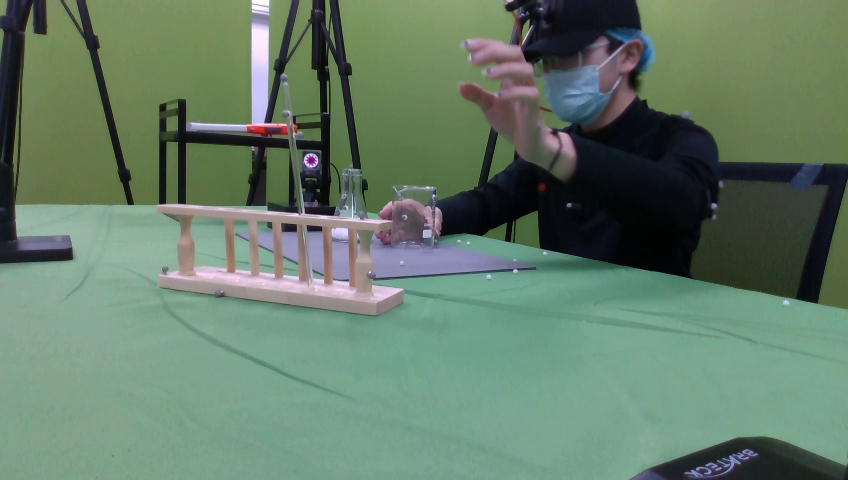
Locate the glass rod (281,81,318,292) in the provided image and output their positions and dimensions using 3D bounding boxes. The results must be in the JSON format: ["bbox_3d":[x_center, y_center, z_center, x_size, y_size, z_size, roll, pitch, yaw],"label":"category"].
[{"bbox_3d":[-0.116,-0.047,0.563,0.008,0.199,0.008,-7,5,1],"label":"glass rod"}]

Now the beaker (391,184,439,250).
[{"bbox_3d":[-0.018,-0.038,0.961,0.073,0.100,0.084,7,9,33],"label":"beaker"}]

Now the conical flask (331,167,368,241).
[{"bbox_3d":[-0.123,-0.061,1.019,0.075,0.122,0.075,2,7,0],"label":"conical flask"}]

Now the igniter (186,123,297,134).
[{"bbox_3d":[-0.393,-0.248,1.341,0.057,0.025,0.278,9,14,38],"label":"igniter"}]

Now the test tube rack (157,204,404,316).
[{"bbox_3d":[-0.143,0.013,0.599,0.242,0.085,0.067,5,8,19],"label":"test tube rack"}]
